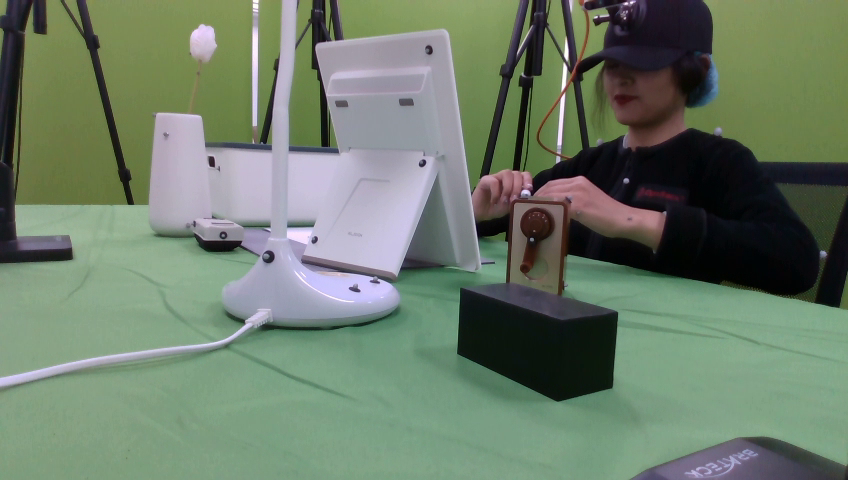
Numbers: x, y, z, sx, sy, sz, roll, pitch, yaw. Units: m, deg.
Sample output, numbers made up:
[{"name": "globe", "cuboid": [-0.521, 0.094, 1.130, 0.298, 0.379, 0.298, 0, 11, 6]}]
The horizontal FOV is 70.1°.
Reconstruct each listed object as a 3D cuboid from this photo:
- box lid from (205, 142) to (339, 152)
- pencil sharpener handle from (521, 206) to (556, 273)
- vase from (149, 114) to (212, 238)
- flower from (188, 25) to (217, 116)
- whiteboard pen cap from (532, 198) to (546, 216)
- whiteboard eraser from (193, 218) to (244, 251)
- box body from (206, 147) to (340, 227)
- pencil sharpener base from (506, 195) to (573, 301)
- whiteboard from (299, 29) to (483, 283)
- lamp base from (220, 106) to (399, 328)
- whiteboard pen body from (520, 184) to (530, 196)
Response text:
[{"name": "box lid", "cuboid": [-0.270, -0.196, 1.311, 0.373, 0.015, 0.262, -2, 9, -30]}, {"name": "pencil sharpener handle", "cuboid": [0.111, 0.000, 0.613, 0.036, 0.067, 0.031, 13, 10, 14]}, {"name": "vase", "cuboid": [-0.405, -0.106, 1.005, 0.098, 0.200, 0.098, 2, 6, 0]}, {"name": "flower", "cuboid": [-0.394, -0.189, 1.012, 0.044, 0.361, 0.038, -1, -13, 28]}, {"name": "whiteboard pen cap", "cuboid": [0.175, -0.051, 0.923, 0.018, 0.018, 0.033, 2, 29, -5]}, {"name": "whiteboard eraser", "cuboid": [-0.307, -0.010, 0.900, 0.056, 0.042, 0.112, -4, 11, -28]}, {"name": "box body", "cuboid": [-0.276, -0.122, 1.320, 0.366, 0.160, 0.253, -2, 9, -30]}, {"name": "pencil sharpener base", "cuboid": [0.127, 0.007, 0.663, 0.061, 0.107, 0.077, 5, 8, 15]}, {"name": "whiteboard", "cuboid": [-0.074, -0.082, 0.742, 0.216, 0.305, 0.144, 9, 29, 38]}, {"name": "lamp base", "cuboid": [-0.102, -0.023, 0.531, 0.160, 0.180, 0.179, 4, 10, 10]}, {"name": "whiteboard pen body", "cuboid": [0.169, -0.082, 1.013, 0.017, 0.017, 0.141, 4, 10, 9]}]
